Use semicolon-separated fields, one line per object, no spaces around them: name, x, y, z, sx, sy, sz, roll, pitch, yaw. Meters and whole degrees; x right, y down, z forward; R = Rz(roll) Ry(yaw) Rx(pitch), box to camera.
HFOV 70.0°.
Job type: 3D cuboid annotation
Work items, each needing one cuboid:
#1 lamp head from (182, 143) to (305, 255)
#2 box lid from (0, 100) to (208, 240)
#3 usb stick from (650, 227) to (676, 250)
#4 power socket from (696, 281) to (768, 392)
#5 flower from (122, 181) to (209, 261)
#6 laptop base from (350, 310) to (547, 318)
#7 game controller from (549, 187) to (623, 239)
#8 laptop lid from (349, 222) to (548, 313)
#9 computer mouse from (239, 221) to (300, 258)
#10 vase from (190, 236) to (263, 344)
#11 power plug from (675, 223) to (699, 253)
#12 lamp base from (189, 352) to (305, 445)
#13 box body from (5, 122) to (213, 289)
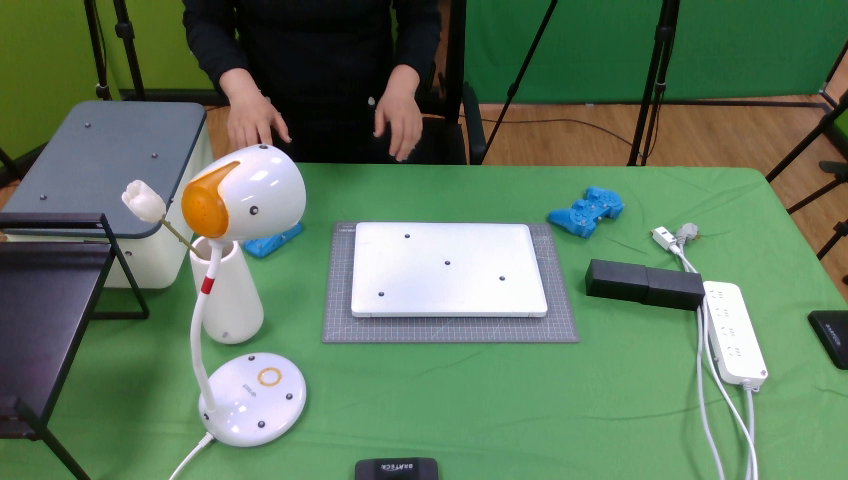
lamp head;-0.216;-0.044;0.697;0.112;0.113;0.123;23;31;17
box lid;-0.559;-0.138;1.085;0.263;0.015;0.369;2;46;-2
usb stick;0.486;-0.007;1.238;0.021;0.027;0.059;-24;43;-12
power socket;0.543;0.161;1.077;0.072;0.033;0.225;5;46;2
flower;-0.329;0.029;0.905;0.038;0.364;0.044;-21;58;-1
laptop base;0.041;0.056;1.149;0.355;0.023;0.234;0;43;-4
game controller;0.346;-0.065;1.272;0.155;0.052;0.096;-31;58;-28
laptop lid;0.042;0.046;1.142;0.357;0.013;0.240;2;44;-3
computer mouse;-0.300;-0.016;1.178;0.062;0.041;0.117;35;57;22
vase;-0.317;0.081;0.971;0.098;0.201;0.097;3;47;-3
power plug;0.538;0.000;1.243;0.053;0.035;0.072;18;81;-17
lamp base;-0.268;0.196;0.876;0.160;0.181;0.179;25;52;20
box body;-0.563;-0.087;1.139;0.254;0.161;0.361;2;46;-3
